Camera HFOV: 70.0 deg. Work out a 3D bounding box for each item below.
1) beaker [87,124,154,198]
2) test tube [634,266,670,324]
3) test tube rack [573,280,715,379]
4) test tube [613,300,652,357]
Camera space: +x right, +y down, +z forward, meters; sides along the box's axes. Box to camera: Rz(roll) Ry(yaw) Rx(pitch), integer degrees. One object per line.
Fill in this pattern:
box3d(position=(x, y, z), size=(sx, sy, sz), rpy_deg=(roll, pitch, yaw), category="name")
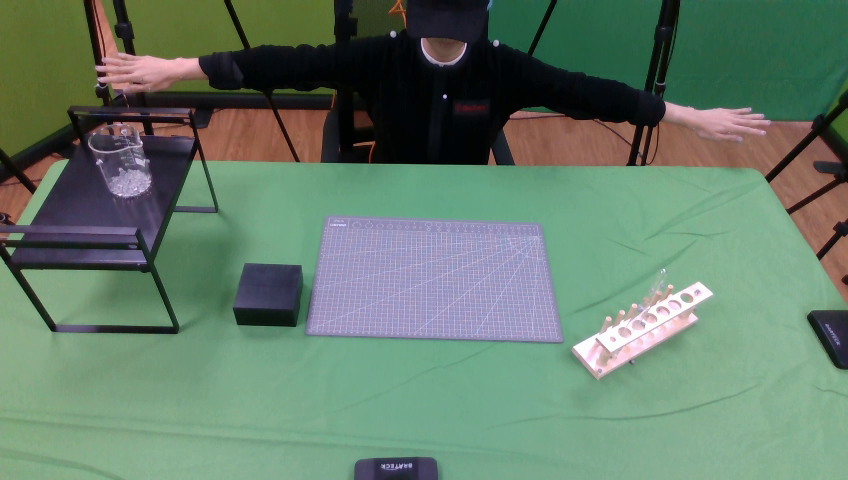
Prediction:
box3d(position=(-0.482, -0.124, 0.978), size=(0.084, 0.101, 0.073), rpy_deg=(9, 46, 4), category="beaker")
box3d(position=(0.382, 0.095, 1.020), size=(0.017, 0.151, 0.017), rpy_deg=(2, 48, -2), category="test tube")
box3d(position=(0.378, 0.140, 1.038), size=(0.242, 0.085, 0.066), rpy_deg=(-22, 51, -23), category="test tube rack")
box3d(position=(0.328, 0.144, 0.962), size=(0.017, 0.151, 0.017), rpy_deg=(3, 49, -4), category="test tube")
